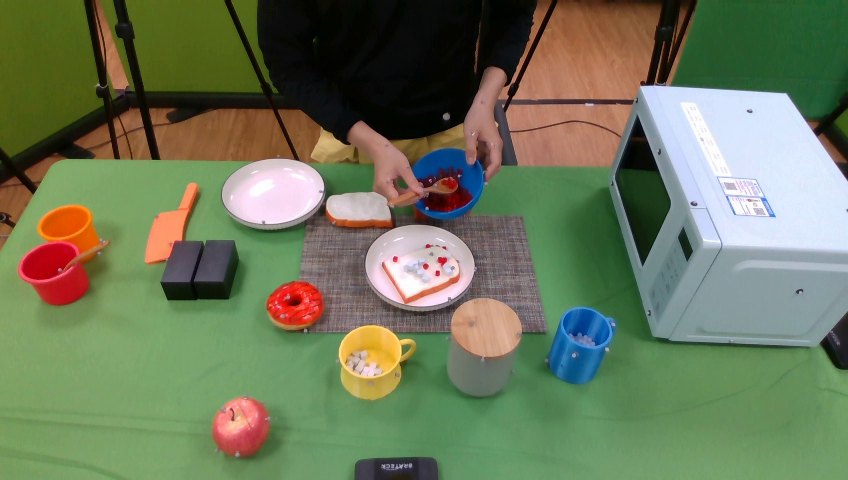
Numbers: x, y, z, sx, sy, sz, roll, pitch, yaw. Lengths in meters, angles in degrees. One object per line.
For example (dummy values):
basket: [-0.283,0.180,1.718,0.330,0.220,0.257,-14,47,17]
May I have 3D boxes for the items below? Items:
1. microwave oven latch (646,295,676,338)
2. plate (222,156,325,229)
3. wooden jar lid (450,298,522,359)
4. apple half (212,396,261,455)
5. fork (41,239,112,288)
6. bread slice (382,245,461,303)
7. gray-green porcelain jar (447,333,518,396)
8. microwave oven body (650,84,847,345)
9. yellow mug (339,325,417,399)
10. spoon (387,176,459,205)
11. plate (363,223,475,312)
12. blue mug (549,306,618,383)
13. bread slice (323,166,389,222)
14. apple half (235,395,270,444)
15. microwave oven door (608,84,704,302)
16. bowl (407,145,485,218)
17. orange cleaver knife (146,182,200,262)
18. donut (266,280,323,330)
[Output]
microwave oven latch: [0.413,0.133,1.060,0.030,0.029,0.078,4,46,1]
plate: [-0.308,-0.095,1.251,0.209,0.038,0.208,2,47,-2]
wooden jar lid: [0.093,0.135,0.914,0.108,0.021,0.107,3,48,-3]
apple half: [-0.276,0.276,0.877,0.053,0.075,0.080,-29,58,-20]
fork: [-0.591,0.040,1.028,0.207,0.019,0.028,-27,37,29]
bread slice: [0.001,0.055,1.130,0.131,0.019,0.104,-21,52,-19]
gray-green porcelain jar: [0.091,0.178,0.960,0.106,0.127,0.105,2,46,-2]
microwave oven body: [0.569,-0.054,1.116,0.326,0.261,0.439,2,46,-1]
yellow mug: [-0.072,0.190,0.978,0.131,0.064,0.099,-17,50,-20]
spoon: [-0.002,-0.091,1.115,0.041,0.022,0.194,40,35,25]
plate: [-0.009,0.054,1.127,0.208,0.039,0.206,2,46,-2]
blue mug: [0.269,0.167,0.997,0.116,0.106,0.082,-19,51,-21]
bread slice: [-0.140,-0.092,1.224,0.134,0.018,0.106,-19,51,6]
apple half: [-0.245,0.260,0.893,0.033,0.082,0.081,-29,55,-22]
microwave oven door: [0.424,-0.096,1.138,0.039,0.245,0.353,3,46,-1]
bowl: [0.049,-0.099,1.170,0.151,0.077,0.150,-6,62,12]
orange cleaver knife: [-0.494,-0.039,1.198,0.077,0.012,0.210,-3,48,2]
donut: [-0.223,0.112,1.051,0.099,0.048,0.098,2,46,-2]
